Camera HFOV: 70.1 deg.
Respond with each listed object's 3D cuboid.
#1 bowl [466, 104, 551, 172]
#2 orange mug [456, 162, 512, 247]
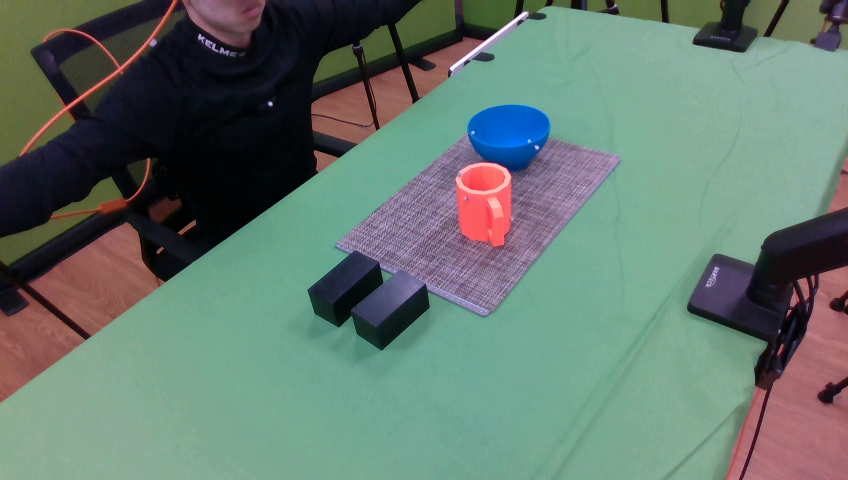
[{"bbox_3d":[0.155,-0.177,1.105,0.151,0.077,0.150,-4,40,4],"label":"bowl"},{"bbox_3d":[0.100,-0.050,0.949,0.083,0.101,0.125,-13,37,-6],"label":"orange mug"}]
